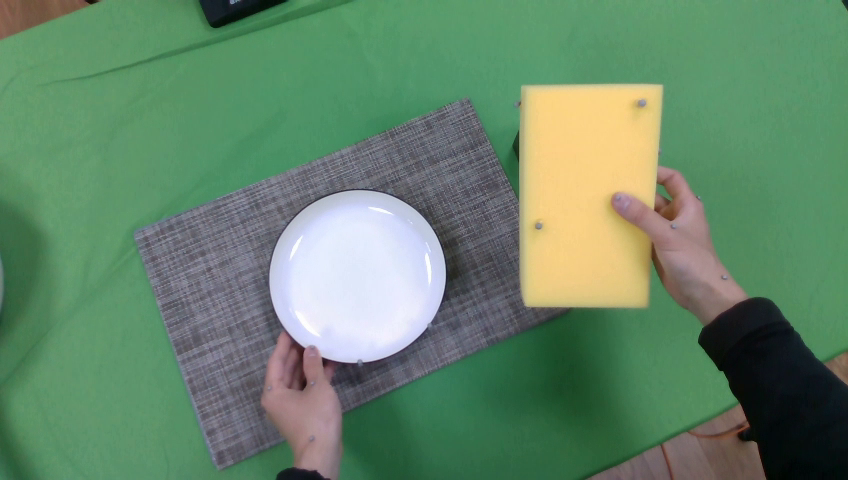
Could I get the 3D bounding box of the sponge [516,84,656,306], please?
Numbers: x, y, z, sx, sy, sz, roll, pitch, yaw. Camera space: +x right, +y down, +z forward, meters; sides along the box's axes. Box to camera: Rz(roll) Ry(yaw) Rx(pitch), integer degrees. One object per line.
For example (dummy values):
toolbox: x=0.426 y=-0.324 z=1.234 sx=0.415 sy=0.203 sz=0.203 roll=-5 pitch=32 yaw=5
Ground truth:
sponge: x=0.149 y=-0.043 z=0.580 sx=0.118 sy=0.060 sz=0.208 roll=-2 pitch=105 yaw=4

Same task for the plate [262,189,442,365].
plate: x=-0.083 y=0.044 z=0.717 sx=0.208 sy=0.039 sz=0.206 roll=0 pitch=79 yaw=-1
